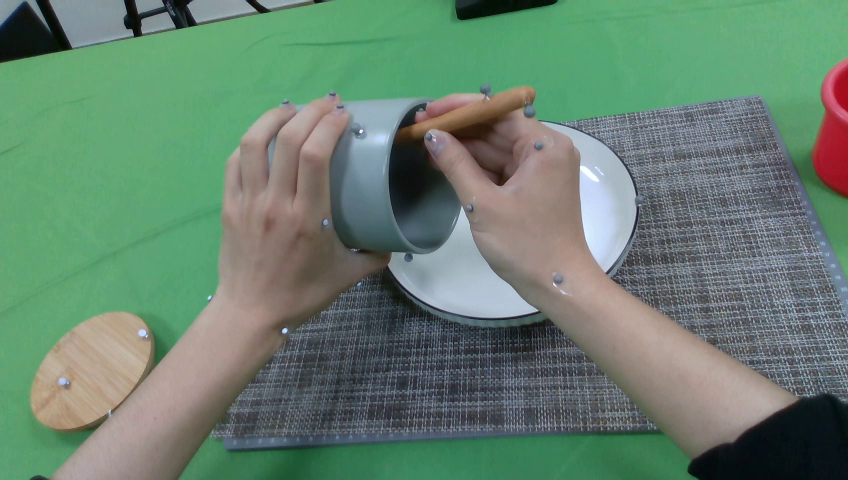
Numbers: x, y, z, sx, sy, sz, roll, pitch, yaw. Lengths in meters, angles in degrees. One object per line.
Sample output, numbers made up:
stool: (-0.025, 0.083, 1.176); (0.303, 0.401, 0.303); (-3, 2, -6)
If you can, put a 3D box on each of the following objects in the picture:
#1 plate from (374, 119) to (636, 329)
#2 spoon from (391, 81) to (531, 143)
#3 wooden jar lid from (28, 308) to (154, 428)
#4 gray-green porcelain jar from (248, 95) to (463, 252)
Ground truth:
plate: (0.062, -0.015, 0.493); (0.207, 0.039, 0.205); (-8, 51, 10)
spoon: (-0.005, -0.074, 0.389); (0.192, 0.022, 0.041); (-5, 80, 47)
wooden jar lid: (-0.276, 0.108, 0.510); (0.108, 0.021, 0.107); (-7, 52, 9)
gray-green porcelain jar: (-0.051, -0.048, 0.435); (0.126, 0.107, 0.105); (6, 54, 29)
